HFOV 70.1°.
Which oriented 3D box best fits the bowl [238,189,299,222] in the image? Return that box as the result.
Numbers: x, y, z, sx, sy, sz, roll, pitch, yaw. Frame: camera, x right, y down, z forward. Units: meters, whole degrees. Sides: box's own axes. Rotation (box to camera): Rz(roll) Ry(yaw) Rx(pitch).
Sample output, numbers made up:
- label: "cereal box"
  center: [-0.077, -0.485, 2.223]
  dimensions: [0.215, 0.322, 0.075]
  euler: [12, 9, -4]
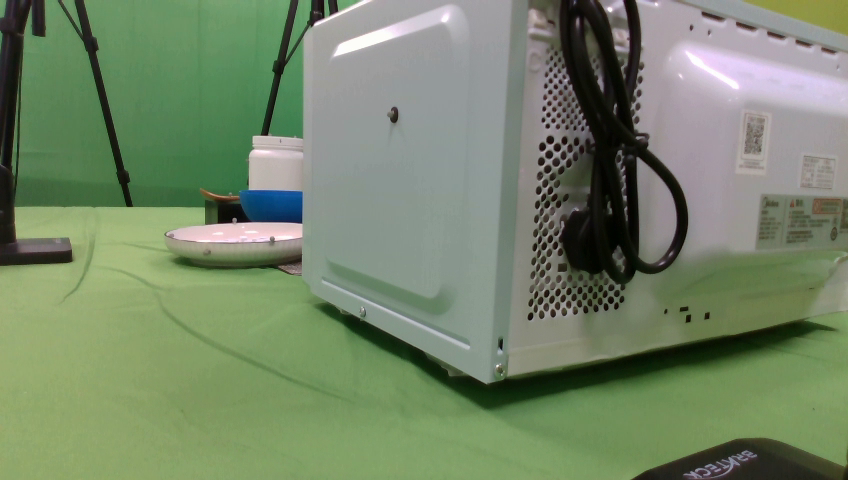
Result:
- label: "bowl"
  center: [-0.245, -0.046, 1.053]
  dimensions: [0.151, 0.077, 0.151]
  euler: [3, 8, 0]

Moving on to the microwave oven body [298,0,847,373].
- label: "microwave oven body"
  center: [0.151, -0.055, 0.542]
  dimensions: [0.444, 0.260, 0.324]
  euler: [-2, 7, -33]

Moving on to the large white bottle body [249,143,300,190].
- label: "large white bottle body"
  center: [-0.338, -0.144, 1.401]
  dimensions: [0.131, 0.184, 0.130]
  euler: [2, 7, 0]

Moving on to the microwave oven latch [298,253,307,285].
- label: "microwave oven latch"
  center: [-0.081, 0.027, 0.582]
  dimensions: [0.079, 0.029, 0.030]
  euler: [-1, 7, -32]

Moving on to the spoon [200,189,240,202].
- label: "spoon"
  center: [-0.339, -0.080, 1.190]
  dimensions: [0.194, 0.021, 0.041]
  euler: [5, 0, -19]

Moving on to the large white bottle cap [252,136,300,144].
- label: "large white bottle cap"
  center: [-0.336, -0.228, 1.391]
  dimensions: [0.115, 0.018, 0.115]
  euler: [2, 6, 0]

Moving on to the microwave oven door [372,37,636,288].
- label: "microwave oven door"
  center: [0.109, -0.080, 0.686]
  dimensions: [0.358, 0.243, 0.039]
  euler: [-2, 9, -33]

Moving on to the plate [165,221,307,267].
- label: "plate"
  center: [-0.241, 0.004, 0.829]
  dimensions: [0.209, 0.038, 0.209]
  euler: [0, 9, 0]
